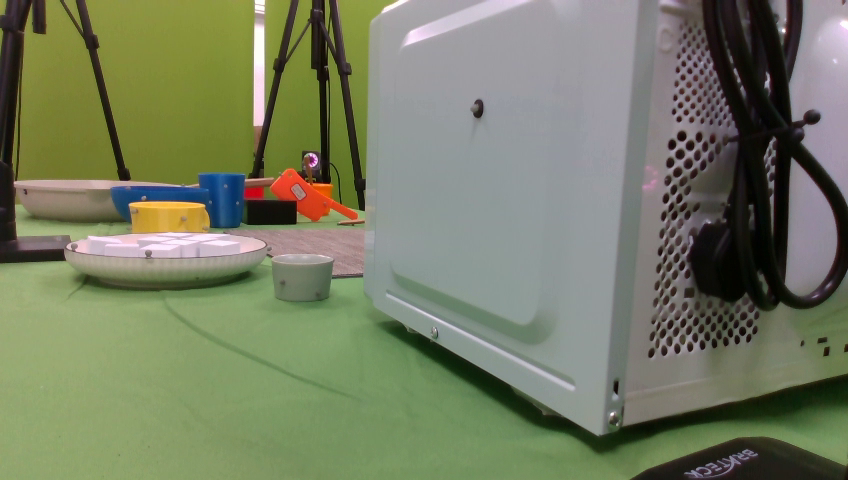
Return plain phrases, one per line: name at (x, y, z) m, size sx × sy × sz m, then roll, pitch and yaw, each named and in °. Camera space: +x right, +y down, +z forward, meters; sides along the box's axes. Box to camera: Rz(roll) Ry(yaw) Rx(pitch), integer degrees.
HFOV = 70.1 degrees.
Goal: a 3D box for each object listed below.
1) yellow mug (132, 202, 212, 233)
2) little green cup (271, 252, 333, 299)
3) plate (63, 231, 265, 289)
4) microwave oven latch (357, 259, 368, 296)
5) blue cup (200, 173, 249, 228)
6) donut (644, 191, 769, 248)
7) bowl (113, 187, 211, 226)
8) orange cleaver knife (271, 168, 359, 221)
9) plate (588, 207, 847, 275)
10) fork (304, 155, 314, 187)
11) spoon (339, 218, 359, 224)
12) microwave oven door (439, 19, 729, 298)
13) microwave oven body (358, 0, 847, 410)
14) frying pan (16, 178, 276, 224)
yellow mug at (-0.356, -0.020, 0.878) m, size 0.099 × 0.064 × 0.131 m, roll 5°, pitch 7°, yaw 21°
little green cup at (-0.122, 0.035, 0.605) m, size 0.061 × 0.038 × 0.061 m, roll 3°, pitch 7°, yaw 0°
plate at (-0.288, 0.021, 0.687) m, size 0.208 × 0.039 × 0.207 m, roll 2°, pitch 8°, yaw 0°
microwave oven latch at (-0.019, 0.031, 0.528) m, size 0.079 × 0.029 × 0.030 m, roll -1°, pitch 7°, yaw -25°
blue cup at (-0.381, -0.076, 1.155) m, size 0.093 × 0.100 × 0.092 m, roll 0°, pitch 8°, yaw 0°
donut at (0.240, -0.017, 0.518) m, size 0.099 × 0.048 × 0.099 m, roll 2°, pitch 3°, yaw 0°
bowl at (-0.436, -0.046, 1.013) m, size 0.151 × 0.077 × 0.151 m, roll 2°, pitch 7°, yaw 0°
orange cleaver knife at (-0.236, -0.084, 1.333) m, size 0.212 × 0.077 × 0.012 m, roll 31°, pitch -10°, yaw -32°
plate at (0.245, -0.001, 0.511) m, size 0.209 × 0.038 × 0.209 m, roll 2°, pitch 7°, yaw 0°
fork at (-0.268, -0.134, 1.447) m, size 0.028 × 0.018 × 0.207 m, roll 2°, pitch -36°, yaw -1°
spoon at (-0.087, -0.041, 1.268) m, size 0.193 × 0.021 × 0.041 m, roll 3°, pitch 20°, yaw 13°
microwave oven door at (0.181, -0.076, 0.617) m, size 0.358 × 0.243 × 0.039 m, roll -2°, pitch 8°, yaw -29°
microwave oven body at (0.210, -0.051, 0.471) m, size 0.444 × 0.260 × 0.324 m, roll -1°, pitch 7°, yaw -28°
frying pan at (-0.553, -0.097, 1.266) m, size 0.490 × 0.102 × 0.305 m, roll -10°, pitch 13°, yaw -24°
